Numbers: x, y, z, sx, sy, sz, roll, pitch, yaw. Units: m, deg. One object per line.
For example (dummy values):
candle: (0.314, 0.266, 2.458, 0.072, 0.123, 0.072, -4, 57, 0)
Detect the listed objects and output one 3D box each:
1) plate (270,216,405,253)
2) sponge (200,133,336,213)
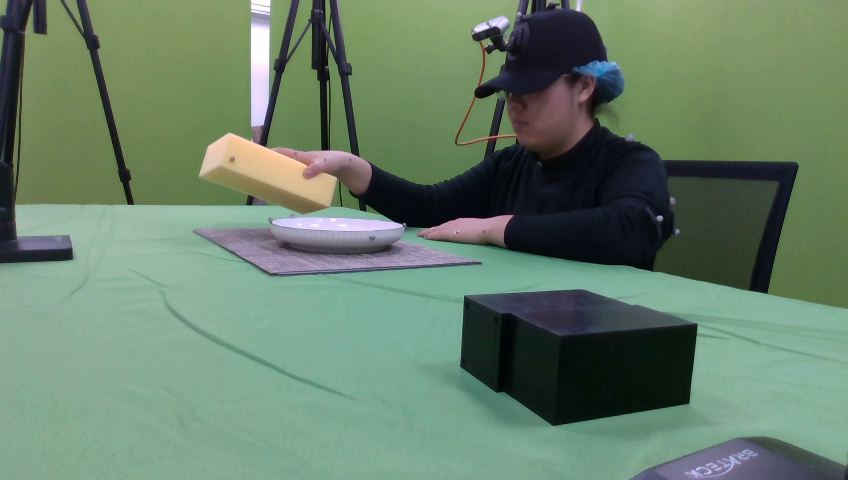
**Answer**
plate: (-0.134, -0.009, 0.946, 0.208, 0.039, 0.207, 3, 7, 0)
sponge: (-0.279, -0.114, 1.087, 0.208, 0.061, 0.117, 21, -17, -35)
